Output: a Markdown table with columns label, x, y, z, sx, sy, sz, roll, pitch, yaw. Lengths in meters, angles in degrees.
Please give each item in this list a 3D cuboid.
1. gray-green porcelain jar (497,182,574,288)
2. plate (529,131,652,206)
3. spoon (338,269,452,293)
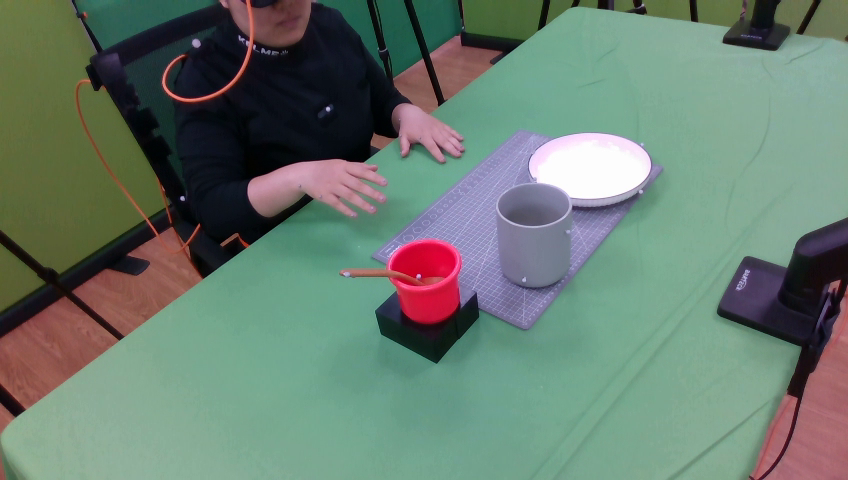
| label | x | y | z | sx | sy | sz | roll | pitch | yaw |
| --- | --- | --- | --- | --- | --- | --- | --- | --- | --- |
| gray-green porcelain jar | 0.160 | -0.003 | 0.869 | 0.106 | 0.127 | 0.105 | -5 | 40 | 5 |
| plate | 0.287 | -0.122 | 1.056 | 0.207 | 0.039 | 0.206 | -5 | 40 | 5 |
| spoon | -0.033 | 0.047 | 0.758 | 0.041 | 0.021 | 0.195 | 30 | 10 | 41 |
